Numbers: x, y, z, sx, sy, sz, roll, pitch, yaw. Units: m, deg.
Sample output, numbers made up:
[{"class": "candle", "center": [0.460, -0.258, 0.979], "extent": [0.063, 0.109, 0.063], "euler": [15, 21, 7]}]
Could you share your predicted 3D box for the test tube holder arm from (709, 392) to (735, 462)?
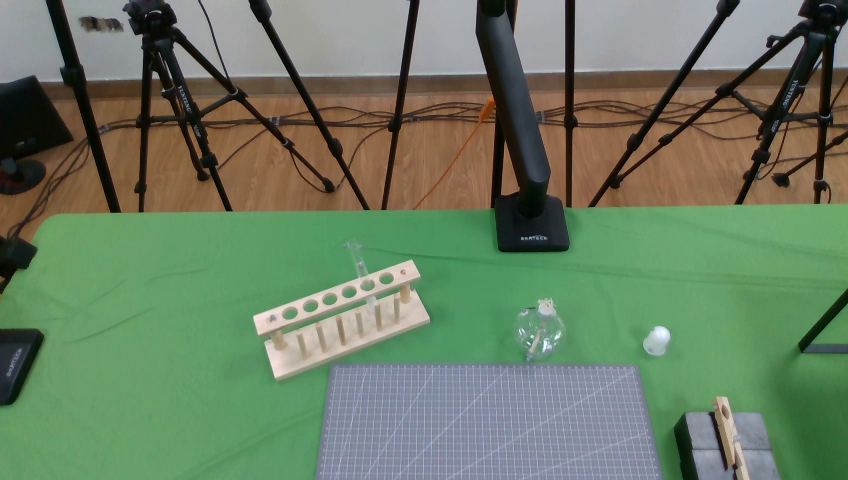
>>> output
[{"class": "test tube holder arm", "center": [0.379, 0.236, 0.768], "extent": [0.010, 0.015, 0.087], "euler": [0, 53, 0]}]

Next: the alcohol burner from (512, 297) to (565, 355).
[{"class": "alcohol burner", "center": [0.167, 0.115, 0.869], "extent": [0.078, 0.120, 0.077], "euler": [0, 53, 1]}]

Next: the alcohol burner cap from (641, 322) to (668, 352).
[{"class": "alcohol burner cap", "center": [0.342, 0.140, 0.892], "extent": [0.034, 0.048, 0.033], "euler": [-1, 51, 2]}]

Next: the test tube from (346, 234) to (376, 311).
[{"class": "test tube", "center": [-0.088, 0.050, 0.876], "extent": [0.017, 0.152, 0.017], "euler": [-6, 42, 6]}]

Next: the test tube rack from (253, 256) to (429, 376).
[{"class": "test tube rack", "center": [-0.117, 0.111, 0.894], "extent": [0.243, 0.086, 0.066], "euler": [-19, 54, -14]}]

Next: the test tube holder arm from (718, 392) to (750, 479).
[{"class": "test tube holder arm", "center": [0.385, 0.272, 0.742], "extent": [0.013, 0.015, 0.176], "euler": [0, 53, -1]}]
